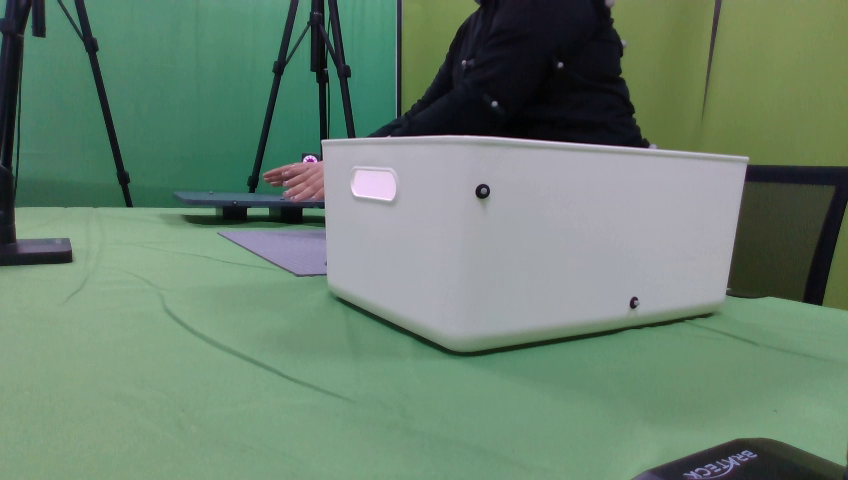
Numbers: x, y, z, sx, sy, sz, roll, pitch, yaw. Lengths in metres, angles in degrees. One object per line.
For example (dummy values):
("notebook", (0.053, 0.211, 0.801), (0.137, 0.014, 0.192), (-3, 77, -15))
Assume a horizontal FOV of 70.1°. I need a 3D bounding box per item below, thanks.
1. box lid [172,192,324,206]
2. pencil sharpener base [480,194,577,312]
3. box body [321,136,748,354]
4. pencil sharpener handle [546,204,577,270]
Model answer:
("box lid", (-0.355, -0.091, 1.349), (0.373, 0.015, 0.262), (-1, 8, -29))
("pencil sharpener base", (0.103, 0.011, 0.590), (0.077, 0.107, 0.061), (-1, 7, -33))
("box body", (0.105, -0.012, 0.603), (0.366, 0.160, 0.253), (-2, 8, -33))
("pencil sharpener handle", (0.146, -0.003, 0.618), (0.031, 0.067, 0.036), (-1, 13, -33))
